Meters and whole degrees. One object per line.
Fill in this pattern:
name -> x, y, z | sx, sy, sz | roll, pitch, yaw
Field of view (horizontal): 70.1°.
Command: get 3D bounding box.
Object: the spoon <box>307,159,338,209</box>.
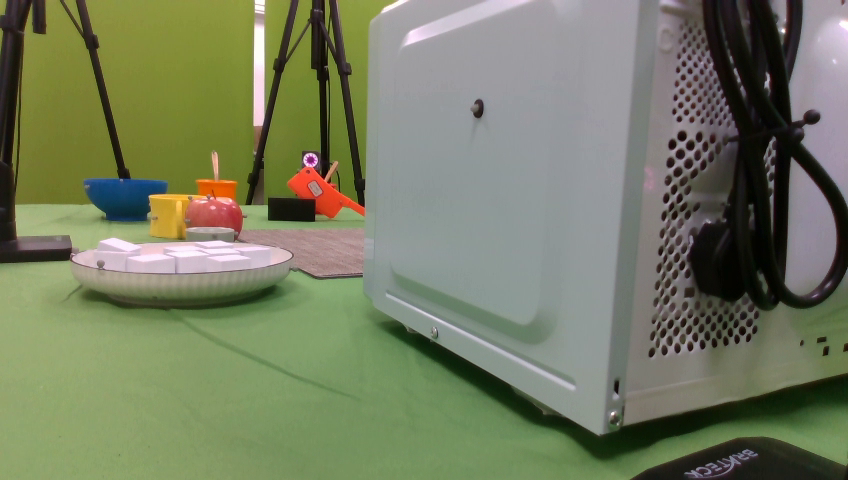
spoon -> -0.257, -0.147, 1.567 | 0.041, 0.022, 0.193 | 1, 50, 20

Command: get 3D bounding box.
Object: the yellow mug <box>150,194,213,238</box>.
yellow mug -> -0.401, -0.040, 1.003 | 0.100, 0.064, 0.130 | -1, 8, -20

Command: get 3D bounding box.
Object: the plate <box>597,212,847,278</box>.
plate -> 0.255, 0.002, 0.519 | 0.209, 0.038, 0.209 | 2, 7, 0

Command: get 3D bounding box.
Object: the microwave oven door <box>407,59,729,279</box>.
microwave oven door -> 0.162, -0.084, 0.715 | 0.356, 0.243, 0.039 | 3, 8, 4

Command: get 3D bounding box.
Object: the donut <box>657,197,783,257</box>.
donut -> 0.251, -0.011, 0.518 | 0.099, 0.048, 0.099 | 4, 6, 0

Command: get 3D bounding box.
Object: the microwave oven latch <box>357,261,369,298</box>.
microwave oven latch -> -0.019, 0.034, 0.530 | 0.079, 0.029, 0.030 | -1, 7, -27

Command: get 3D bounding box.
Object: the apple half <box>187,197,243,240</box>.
apple half -> -0.305, -0.026, 0.907 | 0.053, 0.074, 0.081 | 12, 8, 31

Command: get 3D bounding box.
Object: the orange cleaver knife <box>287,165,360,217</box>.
orange cleaver knife -> -0.211, -0.093, 1.382 | 0.212, 0.077, 0.012 | 33, 1, -15

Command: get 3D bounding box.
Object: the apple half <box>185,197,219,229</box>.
apple half -> -0.338, -0.031, 0.927 | 0.032, 0.081, 0.081 | 12, 12, 31

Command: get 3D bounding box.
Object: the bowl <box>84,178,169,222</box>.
bowl -> -0.584, -0.078, 1.194 | 0.151, 0.077, 0.151 | 3, 8, 0

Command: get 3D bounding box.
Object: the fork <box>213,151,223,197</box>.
fork -> -0.494, -0.143, 1.442 | 0.028, 0.018, 0.206 | -2, 52, -20

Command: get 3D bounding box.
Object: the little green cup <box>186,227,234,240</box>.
little green cup -> -0.284, 0.005, 0.805 | 0.061, 0.038, 0.061 | 2, 8, 0

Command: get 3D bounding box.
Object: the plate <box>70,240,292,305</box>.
plate -> -0.242, 0.031, 0.618 | 0.208, 0.039, 0.207 | 2, 8, 0

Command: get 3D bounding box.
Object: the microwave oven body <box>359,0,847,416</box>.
microwave oven body -> 0.211, -0.047, 0.474 | 0.444, 0.260, 0.324 | -1, 7, -28
